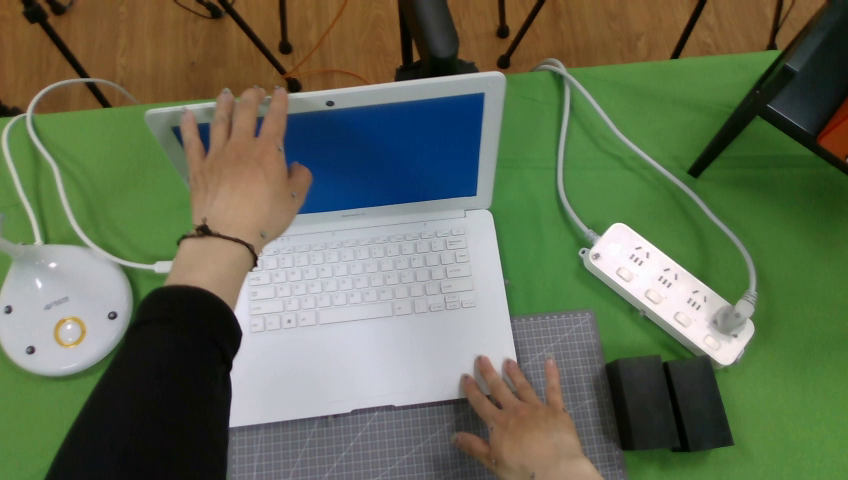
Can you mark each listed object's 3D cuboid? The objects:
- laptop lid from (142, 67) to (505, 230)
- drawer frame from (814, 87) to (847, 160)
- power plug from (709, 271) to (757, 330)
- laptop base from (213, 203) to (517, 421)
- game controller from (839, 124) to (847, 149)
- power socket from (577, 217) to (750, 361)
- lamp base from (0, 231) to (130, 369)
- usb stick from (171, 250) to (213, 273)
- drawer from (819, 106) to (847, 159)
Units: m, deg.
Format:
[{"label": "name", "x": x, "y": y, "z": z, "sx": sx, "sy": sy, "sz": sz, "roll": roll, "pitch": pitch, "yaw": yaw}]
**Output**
[{"label": "laptop lid", "x": -0.093, "y": -0.091, "z": 0.679, "sx": 0.357, "sy": 0.243, "sz": 0.013, "roll": -7, "pitch": 60, "yaw": -2}, {"label": "drawer frame", "x": 0.542, "y": -0.133, "z": 0.601, "sx": 0.201, "sy": 0.083, "sz": 0.213, "roll": 38, "pitch": 75, "yaw": 11}, {"label": "power plug", "x": 0.371, "y": 0.077, "z": 0.721, "sx": 0.072, "sy": 0.053, "sz": 0.035, "roll": -36, "pitch": 75, "yaw": -13}, {"label": "laptop base", "x": -0.077, "y": 0.081, "z": 0.744, "sx": 0.355, "sy": 0.023, "sz": 0.234, "roll": -6, "pitch": 75, "yaw": -3}, {"label": "game controller", "x": 0.515, "y": -0.094, "z": 0.604, "sx": 0.154, "sy": 0.052, "sz": 0.097, "roll": 42, "pitch": 80, "yaw": 14}, {"label": "power socket", "x": 0.296, "y": 0.059, "z": 0.750, "sx": 0.226, "sy": 0.033, "sz": 0.072, "roll": 40, "pitch": 76, "yaw": 12}, {"label": "lamp base", "x": -0.445, "y": 0.042, "z": 0.663, "sx": 0.160, "sy": 0.181, "sz": 0.178, "roll": -36, "pitch": 73, "yaw": -12}, {"label": "usb stick", "x": -0.277, "y": 0.027, "z": 0.745, "sx": 0.059, "sy": 0.027, "sz": 0.021, "roll": -2, "pitch": 67, "yaw": -5}, {"label": "drawer", "x": 0.542, "y": -0.129, "z": 0.602, "sx": 0.193, "sy": 0.073, "sz": 0.211, "roll": 39, "pitch": 75, "yaw": 11}]
